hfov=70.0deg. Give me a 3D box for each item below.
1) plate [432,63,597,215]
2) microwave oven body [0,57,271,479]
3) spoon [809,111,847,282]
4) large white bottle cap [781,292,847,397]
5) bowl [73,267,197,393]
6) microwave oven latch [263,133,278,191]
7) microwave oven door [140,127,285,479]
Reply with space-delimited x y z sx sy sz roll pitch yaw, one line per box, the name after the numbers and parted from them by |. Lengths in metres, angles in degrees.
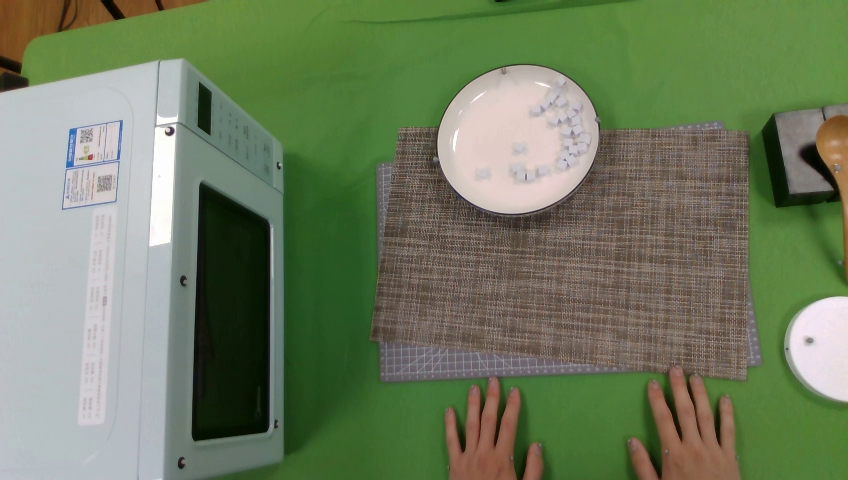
0.115 -0.128 0.784 0.209 0.038 0.208 -3 75 12 | plate
-0.375 0.059 0.738 0.325 0.262 0.439 -7 76 11 | microwave oven body
0.454 -0.044 0.662 0.041 0.021 0.194 -12 97 9 | spoon
0.457 0.114 0.663 0.114 0.018 0.114 -3 77 12 | large white bottle cap
-0.340 0.114 0.749 0.151 0.077 0.150 -3 76 12 | bowl
-0.220 -0.107 0.843 0.030 0.030 0.078 -7 76 11 | microwave oven latch
-0.231 0.081 0.694 0.039 0.245 0.354 -7 75 12 | microwave oven door
